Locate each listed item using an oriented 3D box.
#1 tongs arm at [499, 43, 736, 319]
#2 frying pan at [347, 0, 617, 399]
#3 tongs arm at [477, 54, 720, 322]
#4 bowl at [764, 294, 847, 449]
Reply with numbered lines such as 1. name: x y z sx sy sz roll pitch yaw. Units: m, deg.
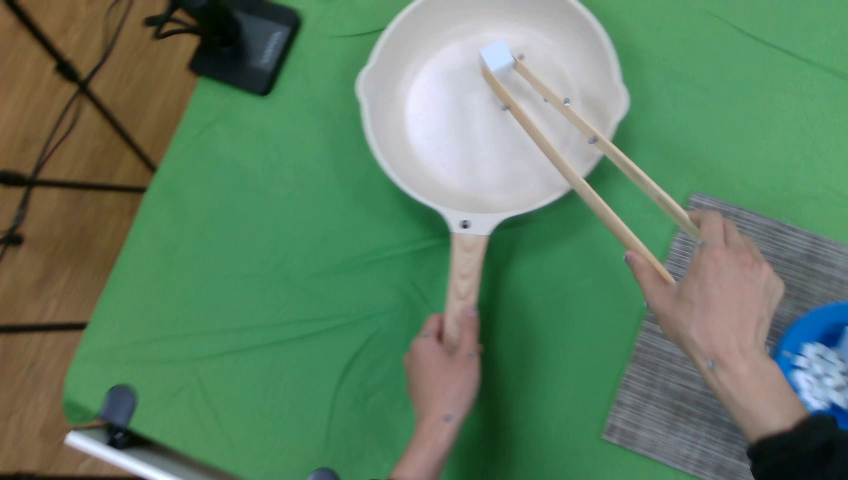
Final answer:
1. tongs arm: 0.169 -0.081 0.608 0.051 0.027 0.380 -31 58 -9
2. frying pan: 0.051 -0.069 0.686 0.306 0.103 0.485 6 73 8
3. tongs arm: 0.150 -0.070 0.606 0.028 0.028 0.383 -26 57 -9
4. bowl: 0.420 0.134 0.626 0.151 0.077 0.151 -1 80 6
